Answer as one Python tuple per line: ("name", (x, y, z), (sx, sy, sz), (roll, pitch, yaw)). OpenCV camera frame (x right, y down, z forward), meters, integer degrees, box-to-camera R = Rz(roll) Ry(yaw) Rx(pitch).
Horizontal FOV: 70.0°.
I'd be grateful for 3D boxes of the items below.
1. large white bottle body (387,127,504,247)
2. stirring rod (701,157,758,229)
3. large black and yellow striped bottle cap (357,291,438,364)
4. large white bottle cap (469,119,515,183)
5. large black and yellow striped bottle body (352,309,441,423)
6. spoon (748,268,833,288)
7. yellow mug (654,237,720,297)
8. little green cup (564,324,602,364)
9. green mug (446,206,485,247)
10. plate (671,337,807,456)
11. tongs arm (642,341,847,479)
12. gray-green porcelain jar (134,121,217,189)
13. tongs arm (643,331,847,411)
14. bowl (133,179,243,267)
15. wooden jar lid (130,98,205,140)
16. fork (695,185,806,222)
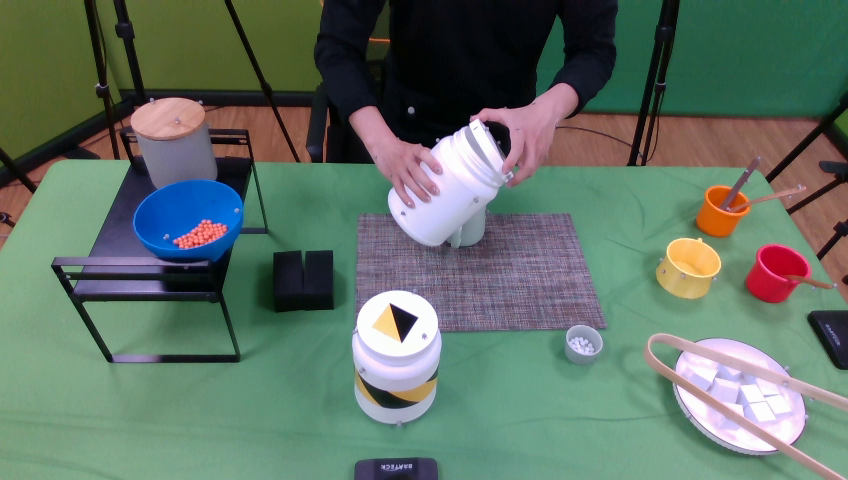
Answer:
("large white bottle body", (0.041, -0.090, 1.019), (0.131, 0.185, 0.130), (35, 30, -24))
("stirring rod", (0.634, -0.097, 1.257), (0.014, 0.006, 0.176), (38, 97, 29))
("large black and yellow striped bottle cap", (-0.037, 0.121, 0.851), (0.115, 0.019, 0.114), (1, 46, -1))
("large white bottle cap", (0.110, -0.144, 0.978), (0.018, 0.115, 0.114), (-32, 47, 15))
("large black and yellow striped bottle body", (-0.042, 0.178, 0.913), (0.131, 0.185, 0.130), (2, 46, -2))
("spoon", (0.660, 0.068, 1.097), (0.041, 0.193, 0.021), (-5, 92, -6))
("yellow mug", (0.509, 0.041, 1.167), (0.099, 0.064, 0.130), (24, 48, 18))
("little green cup", (0.269, 0.179, 1.035), (0.061, 0.039, 0.061), (2, 46, -2))
("green mug", (0.071, -0.039, 1.178), (0.092, 0.105, 0.124), (12, 47, 7))
("plate", (0.504, 0.254, 0.984), (0.208, 0.039, 0.206), (2, 46, -2))
("tongs arm", (0.504, 0.278, 0.918), (0.386, 0.028, 0.028), (34, 59, 22))
("gray-green porcelain jar", (-0.397, -0.141, 0.980), (0.106, 0.127, 0.105), (2, 47, -2))
("tongs arm", (0.546, 0.227, 0.968), (0.384, 0.026, 0.050), (22, 52, 13))
("bowl", (-0.339, -0.013, 0.895), (0.151, 0.077, 0.150), (2, 46, -2))
("wooden jar lid", (-0.393, -0.183, 0.934), (0.108, 0.021, 0.107), (3, 43, -2))
("fork", (0.658, -0.074, 1.230), (0.207, 0.019, 0.028), (-23, 36, 37))
